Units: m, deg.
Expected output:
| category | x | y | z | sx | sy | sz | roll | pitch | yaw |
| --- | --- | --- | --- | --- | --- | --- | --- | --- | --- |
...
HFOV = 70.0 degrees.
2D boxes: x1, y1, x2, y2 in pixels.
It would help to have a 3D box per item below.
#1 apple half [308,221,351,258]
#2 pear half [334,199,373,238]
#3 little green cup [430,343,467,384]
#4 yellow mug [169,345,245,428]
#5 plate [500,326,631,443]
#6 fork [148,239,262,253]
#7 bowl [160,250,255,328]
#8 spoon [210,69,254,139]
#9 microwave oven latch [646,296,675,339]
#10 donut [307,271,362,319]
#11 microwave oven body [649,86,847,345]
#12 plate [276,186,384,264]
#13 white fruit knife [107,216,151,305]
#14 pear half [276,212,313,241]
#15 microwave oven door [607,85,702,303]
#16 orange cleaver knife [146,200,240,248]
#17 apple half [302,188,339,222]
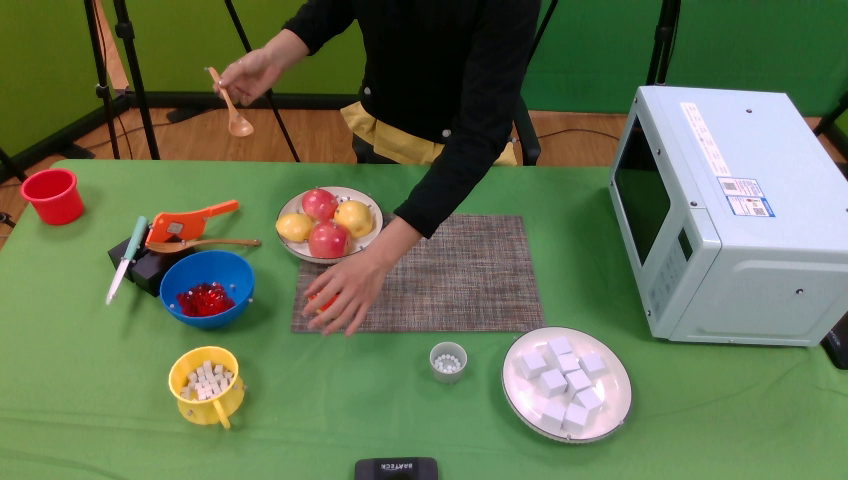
| category | x | y | z | sx | sy | sz | roll | pitch | yaw |
| --- | --- | --- | --- | --- | --- | --- | --- | --- | --- |
| apple half | -0.180 | -0.005 | 1.150 | 0.074 | 0.053 | 0.080 | 14 | 42 | 9 |
| pear half | -0.147 | -0.060 | 1.210 | 0.076 | 0.056 | 0.109 | -17 | 45 | -25 |
| little green cup | 0.039 | 0.203 | 0.993 | 0.061 | 0.039 | 0.061 | 2 | 46 | -2 |
| yellow mug | -0.322 | 0.230 | 0.922 | 0.100 | 0.064 | 0.130 | -24 | 53 | -25 |
| plate | 0.224 | 0.234 | 0.978 | 0.208 | 0.039 | 0.206 | 2 | 46 | -2 |
| fork | -0.398 | 0.008 | 1.117 | 0.208 | 0.019 | 0.028 | -5 | 34 | -37 |
| bowl | -0.362 | 0.097 | 1.040 | 0.151 | 0.077 | 0.150 | 2 | 45 | -2 |
| spoon | -0.369 | -0.261 | 1.149 | 0.041 | 0.022 | 0.192 | -19 | 66 | -23 |
| microwave oven latch | 0.412 | 0.134 | 1.061 | 0.030 | 0.029 | 0.078 | 4 | 45 | 1 |
| donut | -0.157 | 0.097 | 1.072 | 0.099 | 0.048 | 0.098 | 4 | 45 | -4 |
| microwave oven body | 0.567 | -0.053 | 1.118 | 0.326 | 0.261 | 0.439 | 2 | 45 | -1 |
| plate | -0.184 | -0.027 | 1.195 | 0.209 | 0.038 | 0.208 | 2 | 46 | -2 |
| white fruit knife | -0.518 | 0.032 | 1.066 | 0.027 | 0.016 | 0.206 | -18 | 45 | 19 |
| pear half | -0.245 | -0.035 | 1.178 | 0.070 | 0.031 | 0.088 | 40 | 41 | 1 |
| microwave oven door | 0.423 | -0.094 | 1.140 | 0.039 | 0.245 | 0.353 | 2 | 46 | -1 |
| orange cleaver knife | -0.435 | -0.033 | 1.157 | 0.012 | 0.077 | 0.211 | 31 | 26 | 19 |
| apple half | -0.205 | -0.076 | 1.217 | 0.081 | 0.033 | 0.081 | 18 | 46 | -19 |
